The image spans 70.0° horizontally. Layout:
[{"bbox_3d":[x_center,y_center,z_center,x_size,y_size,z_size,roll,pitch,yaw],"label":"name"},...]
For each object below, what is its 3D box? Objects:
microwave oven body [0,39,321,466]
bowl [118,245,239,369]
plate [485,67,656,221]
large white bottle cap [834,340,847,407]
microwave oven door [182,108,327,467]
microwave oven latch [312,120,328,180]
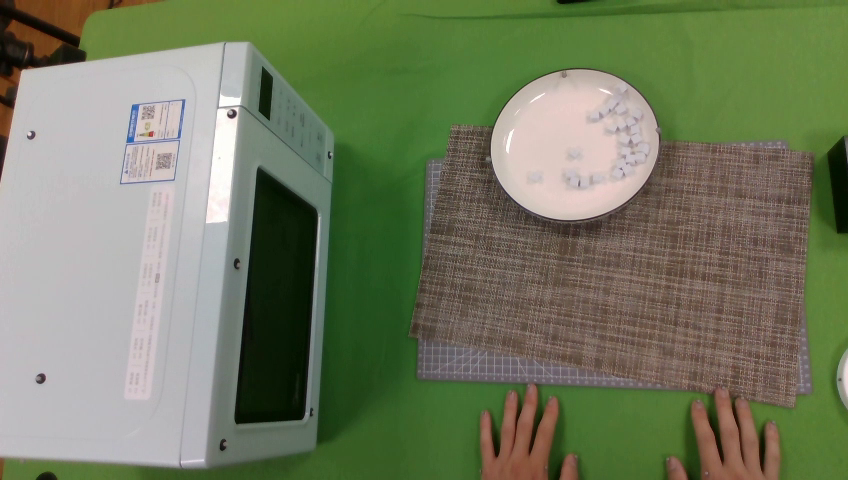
[{"bbox_3d":[-0.320,0.030,0.744,0.325,0.262,0.439,-3,76,13],"label":"microwave oven body"},{"bbox_3d":[-0.289,0.088,0.754,0.151,0.077,0.150,-3,75,13],"label":"bowl"},{"bbox_3d":[0.184,-0.120,0.773,0.208,0.038,0.208,-4,74,13],"label":"plate"},{"bbox_3d":[0.502,0.147,0.642,0.114,0.018,0.114,-3,76,12],"label":"large white bottle cap"},{"bbox_3d":[-0.180,0.063,0.695,0.039,0.245,0.354,-3,75,14],"label":"microwave oven door"},{"bbox_3d":[-0.150,-0.124,0.842,0.030,0.030,0.079,-3,76,13],"label":"microwave oven latch"}]
